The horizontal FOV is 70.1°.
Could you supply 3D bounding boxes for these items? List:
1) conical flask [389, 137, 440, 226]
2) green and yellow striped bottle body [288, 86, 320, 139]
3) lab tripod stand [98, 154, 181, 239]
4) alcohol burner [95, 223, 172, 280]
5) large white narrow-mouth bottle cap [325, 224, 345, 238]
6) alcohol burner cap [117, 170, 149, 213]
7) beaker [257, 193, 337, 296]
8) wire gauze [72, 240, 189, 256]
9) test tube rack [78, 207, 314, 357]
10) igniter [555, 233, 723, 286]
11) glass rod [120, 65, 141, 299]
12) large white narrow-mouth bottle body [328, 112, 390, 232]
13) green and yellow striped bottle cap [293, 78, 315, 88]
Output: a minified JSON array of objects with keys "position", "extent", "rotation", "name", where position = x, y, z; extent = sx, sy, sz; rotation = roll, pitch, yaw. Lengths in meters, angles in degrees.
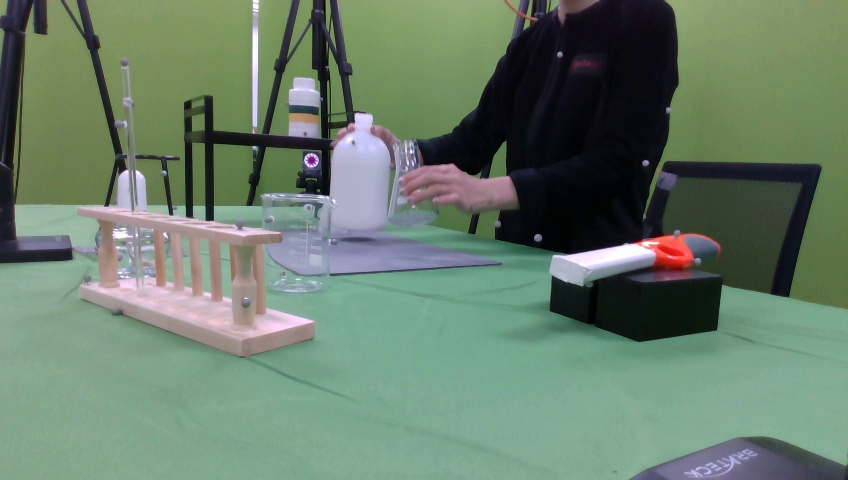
[{"position":[-0.020,-0.086,0.880],"extent":[0.075,0.121,0.075],"rotation":[-7,-12,-1],"name":"conical flask"},{"position":[-0.250,-0.272,1.261],"extent":[0.063,0.119,0.063],"rotation":[3,7,0],"name":"green and yellow striped bottle body"},{"position":[-0.427,-0.066,0.942],"extent":[0.148,0.131,0.148],"rotation":[1,6,0],"name":"lab tripod stand"},{"position":[-0.320,-0.016,0.667],"extent":[0.078,0.119,0.078],"rotation":[0,7,0],"name":"alcohol burner"},{"position":[-0.160,-0.016,1.090],"extent":[0.038,0.024,0.037],"rotation":[3,9,0],"name":"large white narrow-mouth bottle cap"},{"position":[-0.320,-0.052,0.661],"extent":[0.034,0.048,0.034],"rotation":[-3,0,0],"name":"alcohol burner cap"},{"position":[-0.130,0.003,0.628],"extent":[0.084,0.100,0.074],"rotation":[5,8,15],"name":"beaker"},{"position":[-0.399,0.013,0.820],"extent":[0.126,0.011,0.121],"rotation":[-3,8,-37],"name":"wire gauze"},{"position":[-0.196,0.023,0.500],"extent":[0.241,0.085,0.067],"rotation":[8,9,37],"name":"test tube rack"},{"position":[0.214,0.015,0.570],"extent":[0.278,0.025,0.057],"rotation":[-6,22,-44],"name":"igniter"},{"position":[-0.248,-0.047,0.513],"extent":[0.008,0.199,0.008],"rotation":[-1,4,0],"name":"glass rod"},{"position":[-0.107,-0.116,1.019],"extent":[0.102,0.194,0.101],"rotation":[4,12,-1],"name":"large white narrow-mouth bottle body"},{"position":[-0.248,-0.324,1.256],"extent":[0.045,0.020,0.045],"rotation":[4,8,0],"name":"green and yellow striped bottle cap"}]
